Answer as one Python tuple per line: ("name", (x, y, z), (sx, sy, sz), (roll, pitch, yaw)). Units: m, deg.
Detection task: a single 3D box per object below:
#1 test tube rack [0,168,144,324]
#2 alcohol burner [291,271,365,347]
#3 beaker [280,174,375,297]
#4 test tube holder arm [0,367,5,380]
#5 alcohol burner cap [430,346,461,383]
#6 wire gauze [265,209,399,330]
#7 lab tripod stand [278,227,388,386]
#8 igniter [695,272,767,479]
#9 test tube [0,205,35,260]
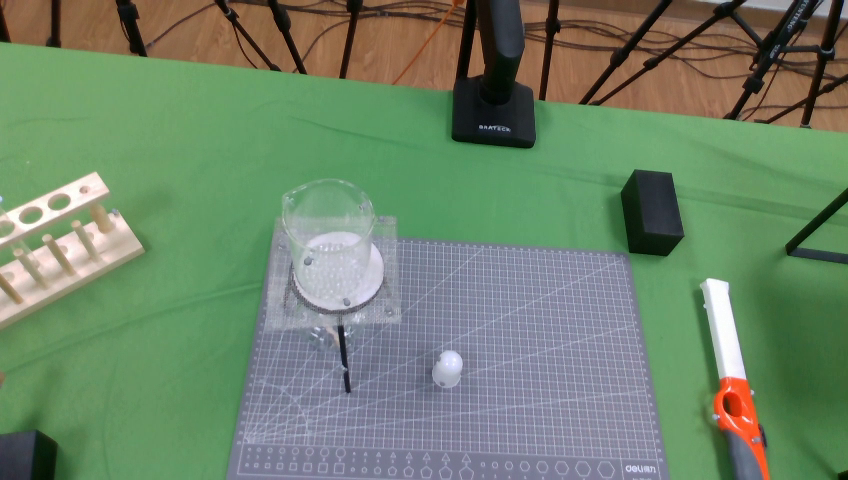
("test tube rack", (-0.439, 0.025, 0.642), (0.242, 0.086, 0.066), (-33, 67, -24))
("alcohol burner", (-0.101, 0.066, 0.637), (0.078, 0.120, 0.077), (4, 57, -6))
("beaker", (-0.086, 0.000, 0.533), (0.084, 0.101, 0.073), (26, 59, 9))
("test tube holder arm", (-0.406, 0.156, 0.548), (0.010, 0.015, 0.087), (7, 57, -2))
("alcohol burner cap", (0.024, 0.132, 0.654), (0.034, 0.048, 0.033), (2, 61, -3))
("wire gauze", (-0.087, 0.024, 0.576), (0.121, 0.011, 0.124), (-1, 62, -6))
("lab tripod stand", (-0.090, 0.062, 0.629), (0.148, 0.132, 0.147), (4, 59, -6))
("igniter", (0.345, 0.161, 0.686), (0.057, 0.025, 0.274), (12, 58, -12))
("test tube", (-0.431, -0.023, 0.615), (0.017, 0.151, 0.017), (4, 53, -5))
